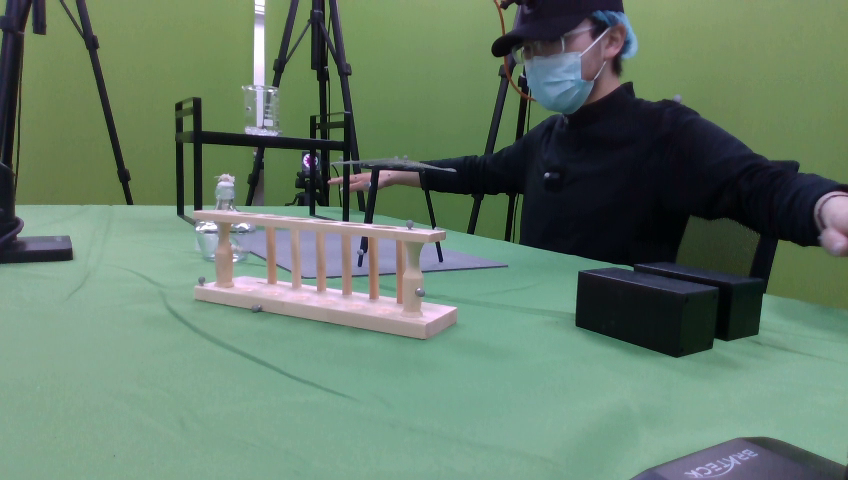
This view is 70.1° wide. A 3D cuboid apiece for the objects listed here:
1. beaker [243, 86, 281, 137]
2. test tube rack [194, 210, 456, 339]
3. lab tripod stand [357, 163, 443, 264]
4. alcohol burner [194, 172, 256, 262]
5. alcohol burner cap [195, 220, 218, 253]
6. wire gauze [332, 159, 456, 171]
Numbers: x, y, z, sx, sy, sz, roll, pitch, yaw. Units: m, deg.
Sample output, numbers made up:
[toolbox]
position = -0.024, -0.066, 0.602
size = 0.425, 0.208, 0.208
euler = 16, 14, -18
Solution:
[beaker]
position = -0.338, -0.265, 1.253
size = 0.073, 0.100, 0.084
euler = 8, 10, 38
[test tube rack]
position = -0.093, 0.023, 0.545
size = 0.241, 0.085, 0.067
euler = 6, 8, 25
[lab tripod stand]
position = -0.044, -0.038, 0.830
size = 0.148, 0.131, 0.148
euler = 3, 6, 0
[alcohol burner]
position = -0.263, -0.031, 0.802
size = 0.078, 0.119, 0.078
euler = 0, 8, 0
[alcohol burner cap]
position = -0.316, -0.007, 0.882
size = 0.034, 0.048, 0.034
euler = 3, 8, 0
[wire gauze]
position = -0.042, -0.104, 0.819
size = 0.126, 0.011, 0.121
euler = -3, 9, -44
